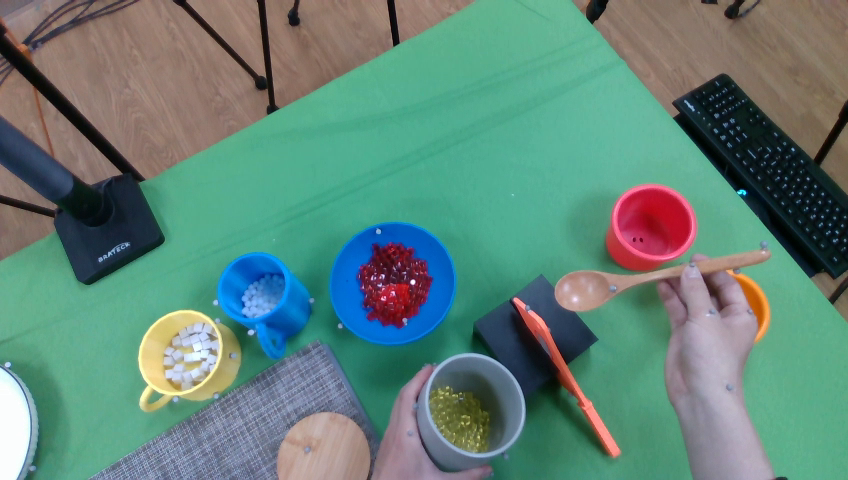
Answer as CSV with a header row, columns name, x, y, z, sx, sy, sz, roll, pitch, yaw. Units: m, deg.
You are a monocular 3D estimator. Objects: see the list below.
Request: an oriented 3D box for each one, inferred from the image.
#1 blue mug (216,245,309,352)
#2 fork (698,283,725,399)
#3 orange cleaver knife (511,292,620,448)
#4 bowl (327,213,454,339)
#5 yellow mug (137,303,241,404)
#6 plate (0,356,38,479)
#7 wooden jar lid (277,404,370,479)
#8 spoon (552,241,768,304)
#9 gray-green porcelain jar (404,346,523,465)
name,x,y,z,sx,sy,sz,roll,pitch,yaw
blue mug,-0.188,0.076,0.725,0.082,0.106,0.115,-12,71,-1
fork,0.319,0.104,0.666,0.028,0.019,0.206,28,31,7
orange cleaver knife,0.160,0.148,0.695,0.012,0.077,0.212,-35,103,-10
bowl,-0.037,0.052,0.740,0.151,0.077,0.150,-1,72,3
yellow mug,-0.291,0.143,0.729,0.099,0.064,0.130,35,78,14
plate,-0.563,0.236,0.727,0.207,0.039,0.206,-1,72,3
wooden jar lid,-0.116,0.247,0.706,0.108,0.021,0.107,-1,73,3
spoon,0.216,0.028,0.570,0.193,0.022,0.041,-15,72,30
gray-green porcelain jar,0.036,0.184,0.658,0.106,0.127,0.105,6,61,-11
